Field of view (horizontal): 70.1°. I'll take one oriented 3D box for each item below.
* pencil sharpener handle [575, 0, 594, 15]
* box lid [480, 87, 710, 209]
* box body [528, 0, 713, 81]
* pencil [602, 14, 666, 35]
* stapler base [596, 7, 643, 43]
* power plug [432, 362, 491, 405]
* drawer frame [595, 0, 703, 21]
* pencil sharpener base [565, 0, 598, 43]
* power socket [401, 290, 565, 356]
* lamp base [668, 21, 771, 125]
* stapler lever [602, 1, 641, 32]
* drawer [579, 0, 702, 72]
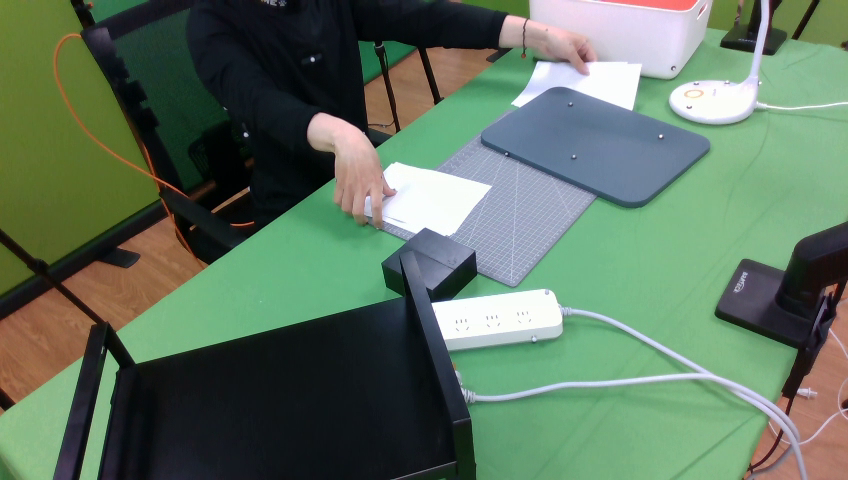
[{"bbox_3d":[0.401,-0.594,1.511,0.036,0.067,0.030,36,49,-1],"label":"pencil sharpener handle"},{"bbox_3d":[0.316,-0.191,1.155,0.264,0.015,0.368,-35,49,-29],"label":"box lid"},{"bbox_3d":[0.450,-0.512,1.398,0.361,0.161,0.254,19,48,28],"label":"box body"},{"bbox_3d":[0.483,-0.494,1.388,0.195,0.012,0.012,-22,42,-20],"label":"pencil"},{"bbox_3d":[0.453,-0.502,1.397,0.131,0.024,0.041,-39,63,-19],"label":"stapler base"},{"bbox_3d":[0.045,0.182,0.758,0.073,0.035,0.052,22,43,-18],"label":"power plug"},{"bbox_3d":[0.487,-0.490,1.360,0.212,0.083,0.202,24,62,20],"label":"drawer frame"},{"bbox_3d":[0.388,-0.550,1.483,0.061,0.107,0.077,14,44,23],"label":"pencil sharpener base"},{"bbox_3d":[0.080,0.112,0.822,0.227,0.033,0.072,-7,41,0],"label":"power socket"},{"bbox_3d":[0.577,-0.333,1.155,0.179,0.181,0.160,6,42,12],"label":"lamp base"},{"bbox_3d":[0.451,-0.516,1.378,0.118,0.040,0.026,-39,63,-18],"label":"stapler lever"},{"bbox_3d":[0.484,-0.489,1.361,0.210,0.073,0.194,24,63,21],"label":"drawer"}]
